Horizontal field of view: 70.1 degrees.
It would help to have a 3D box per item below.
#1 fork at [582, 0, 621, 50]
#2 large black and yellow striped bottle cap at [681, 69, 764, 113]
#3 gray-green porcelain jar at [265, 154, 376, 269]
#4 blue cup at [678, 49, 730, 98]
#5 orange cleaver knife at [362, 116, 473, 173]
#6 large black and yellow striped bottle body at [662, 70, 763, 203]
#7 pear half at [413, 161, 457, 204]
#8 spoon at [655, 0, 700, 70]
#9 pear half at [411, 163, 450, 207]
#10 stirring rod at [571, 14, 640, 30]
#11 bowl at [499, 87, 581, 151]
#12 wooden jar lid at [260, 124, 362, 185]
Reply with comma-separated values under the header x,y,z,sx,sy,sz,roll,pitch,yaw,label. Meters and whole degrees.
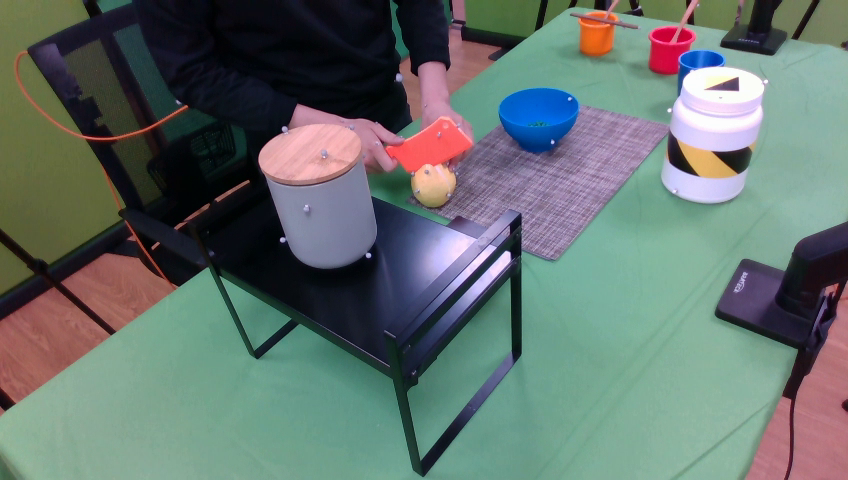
x,y,z,sx,sy,sz,roll,pitch,yaw,label
0.446,-0.539,1.438,0.207,0.019,0.028,-57,34,12,fork
0.453,-0.229,0.921,0.115,0.019,0.114,-4,39,4,large black and yellow striped bottle cap
-0.112,-0.039,0.685,0.106,0.127,0.105,-4,40,4,gray-green porcelain jar
0.542,-0.310,1.194,0.092,0.101,0.092,-6,41,6,blue cup
-0.022,-0.145,1.001,0.210,0.077,0.012,-16,34,27,orange cleaver knife
0.464,-0.166,0.976,0.131,0.185,0.130,-5,41,5,large black and yellow striped bottle body
0.021,-0.120,1.043,0.076,0.110,0.056,13,46,16,pear half
0.568,-0.463,1.337,0.041,0.022,0.193,30,97,37,spoon
0.007,-0.087,1.024,0.070,0.088,0.031,9,49,15,pear half
0.419,-0.508,1.404,0.174,0.006,0.014,28,55,35,stirring rod
0.220,-0.223,1.156,0.151,0.077,0.150,-4,40,4,bowl
-0.119,-0.088,0.644,0.108,0.021,0.108,-4,40,3,wooden jar lid
